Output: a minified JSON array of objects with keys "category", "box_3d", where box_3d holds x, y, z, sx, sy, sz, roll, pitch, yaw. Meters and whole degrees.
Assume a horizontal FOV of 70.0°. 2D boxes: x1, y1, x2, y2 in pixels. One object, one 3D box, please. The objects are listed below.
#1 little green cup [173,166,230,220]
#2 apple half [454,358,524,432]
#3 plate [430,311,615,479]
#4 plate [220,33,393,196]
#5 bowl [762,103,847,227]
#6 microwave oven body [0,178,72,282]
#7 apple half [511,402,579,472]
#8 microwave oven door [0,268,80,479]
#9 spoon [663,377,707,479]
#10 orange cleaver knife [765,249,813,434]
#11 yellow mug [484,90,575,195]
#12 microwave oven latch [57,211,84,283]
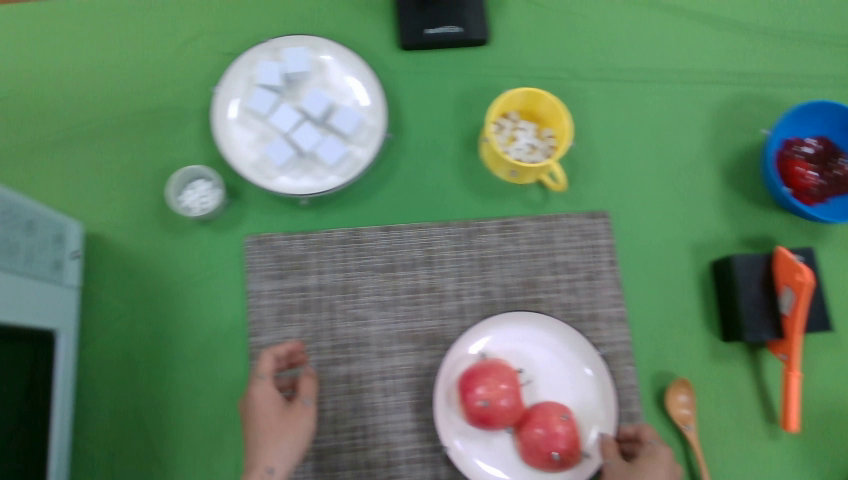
[{"category":"little green cup","box_3d":[-0.261,-0.053,0.718,0.061,0.039,0.061,1,79,-4]},{"category":"apple half","box_3d":[0.073,0.173,0.674,0.075,0.053,0.080,-7,79,-1]},{"category":"plate","box_3d":[0.109,0.185,0.689,0.209,0.038,0.208,1,79,-3]},{"category":"plate","box_3d":[-0.141,-0.151,0.746,0.208,0.039,0.206,1,79,-3]},{"category":"bowl","box_3d":[0.478,-0.082,0.744,0.151,0.077,0.150,1,79,-2]},{"category":"microwave oven body","box_3d":[-0.544,0.163,0.545,0.326,0.261,0.439,-1,79,-4]},{"category":"apple half","box_3d":[0.137,0.222,0.676,0.081,0.033,0.081,0,75,-1]},{"category":"microwave oven door","box_3d":[-0.397,0.202,0.540,0.039,0.244,0.354,-1,79,-3]},{"category":"spoon","box_3d":[0.311,0.255,0.697,0.042,0.021,0.193,-7,78,-25]},{"category":"orange cleaver knife","box_3d":[0.415,0.117,0.699,0.012,0.077,0.212,-3,102,1]},{"category":"yellow mug","box_3d":[0.135,-0.111,0.738,0.100,0.064,0.130,-32,83,-9]},{"category":"microwave oven latch","box_3d":[-0.404,0.008,0.682,0.030,0.029,0.079,1,79,-3]}]
